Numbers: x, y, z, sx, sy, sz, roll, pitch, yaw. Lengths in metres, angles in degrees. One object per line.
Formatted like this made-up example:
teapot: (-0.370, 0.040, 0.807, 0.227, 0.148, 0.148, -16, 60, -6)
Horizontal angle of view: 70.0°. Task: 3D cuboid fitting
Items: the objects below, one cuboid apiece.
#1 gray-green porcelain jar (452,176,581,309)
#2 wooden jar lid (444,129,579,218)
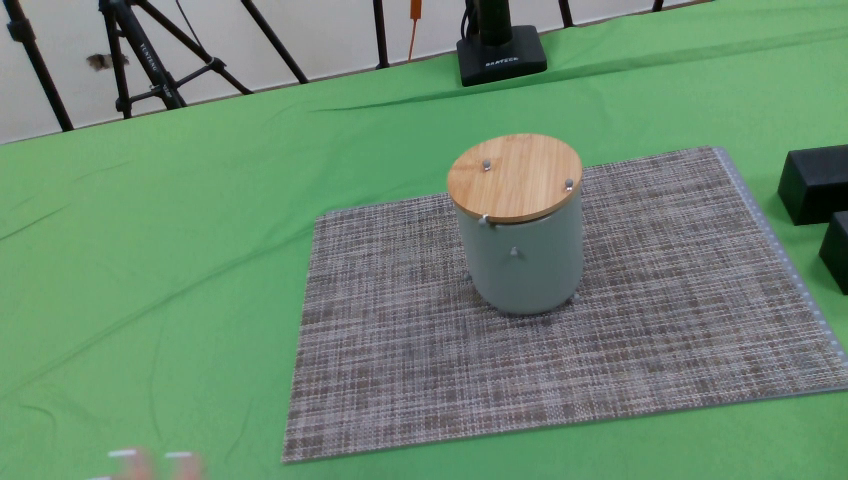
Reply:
gray-green porcelain jar: (0.085, -0.009, 0.536, 0.106, 0.128, 0.105, -8, 45, 8)
wooden jar lid: (0.070, -0.052, 0.490, 0.108, 0.021, 0.107, -7, 44, 8)
